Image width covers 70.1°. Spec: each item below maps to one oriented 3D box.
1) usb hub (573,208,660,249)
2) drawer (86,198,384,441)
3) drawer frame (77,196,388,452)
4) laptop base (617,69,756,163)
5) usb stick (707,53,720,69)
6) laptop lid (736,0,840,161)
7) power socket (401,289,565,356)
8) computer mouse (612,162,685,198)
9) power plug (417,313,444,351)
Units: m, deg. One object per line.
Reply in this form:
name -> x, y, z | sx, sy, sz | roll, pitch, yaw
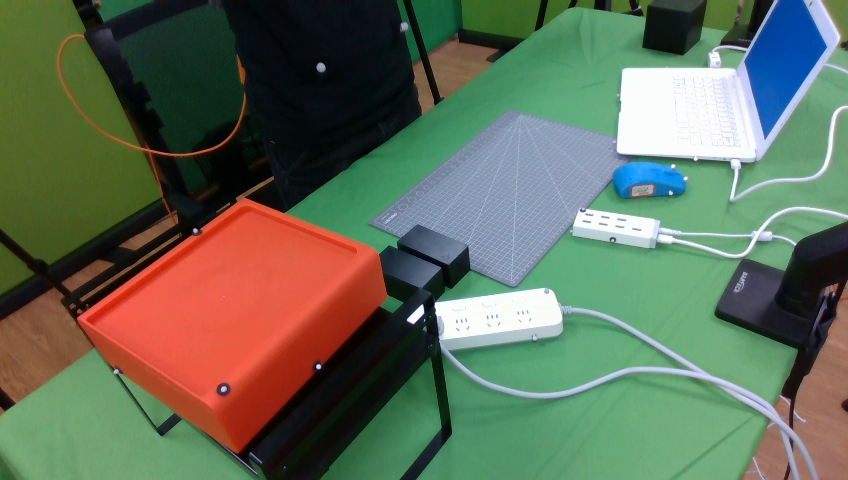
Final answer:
usb hub -> 0.302, -0.019, 0.949 | 0.124, 0.025, 0.049 | 11, 43, 20
drawer -> -0.179, 0.064, 0.600 | 0.193, 0.073, 0.212 | 21, 48, 28
drawer frame -> -0.179, 0.066, 0.598 | 0.200, 0.083, 0.214 | 20, 48, 28
laptop base -> 0.509, -0.255, 1.201 | 0.234, 0.023, 0.353 | 4, 41, 16
usb stick -> 0.629, -0.382, 1.313 | 0.021, 0.027, 0.059 | 2, 46, 17
laptop lid -> 0.641, -0.327, 1.090 | 0.013, 0.242, 0.356 | 16, 43, 5
power socket -> 0.081, 0.112, 0.822 | 0.227, 0.033, 0.072 | -7, 41, 0
computer mouse -> 0.382, -0.103, 1.027 | 0.117, 0.041, 0.062 | 0, 39, 2
power plug -> 0.007, 0.127, 0.786 | 0.035, 0.053, 0.072 | 0, 43, 8
